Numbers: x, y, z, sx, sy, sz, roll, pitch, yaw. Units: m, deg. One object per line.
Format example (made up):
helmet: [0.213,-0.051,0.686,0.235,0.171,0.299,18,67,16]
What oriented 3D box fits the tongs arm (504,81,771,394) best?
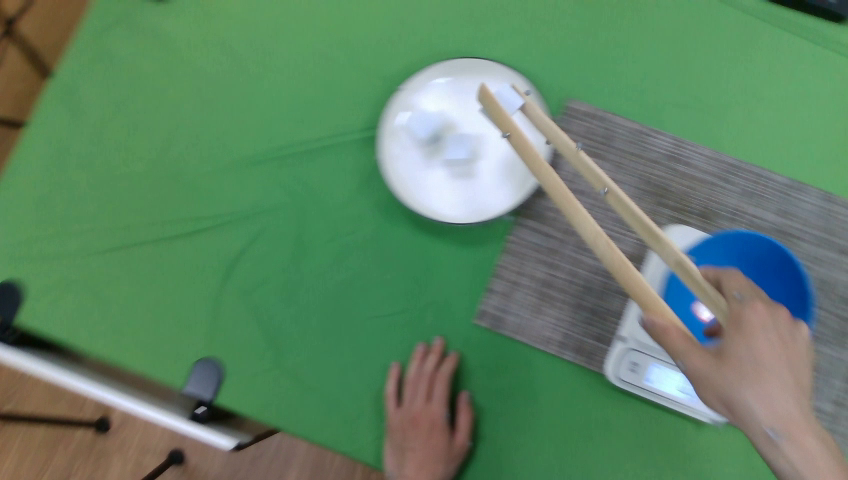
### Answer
tongs arm: [0.171,-0.024,0.564,0.051,0.027,0.381,-24,59,-23]

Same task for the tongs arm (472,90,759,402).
tongs arm: [0.148,-0.015,0.555,0.028,0.028,0.383,-19,57,-24]

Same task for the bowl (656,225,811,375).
bowl: [0.312,0.064,0.643,0.151,0.077,0.151,0,83,1]

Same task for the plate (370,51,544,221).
plate: [0.040,-0.123,0.734,0.207,0.039,0.207,0,82,2]

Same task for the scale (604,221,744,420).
scale: [0.307,0.090,0.693,0.148,0.031,0.200,22,83,5]
